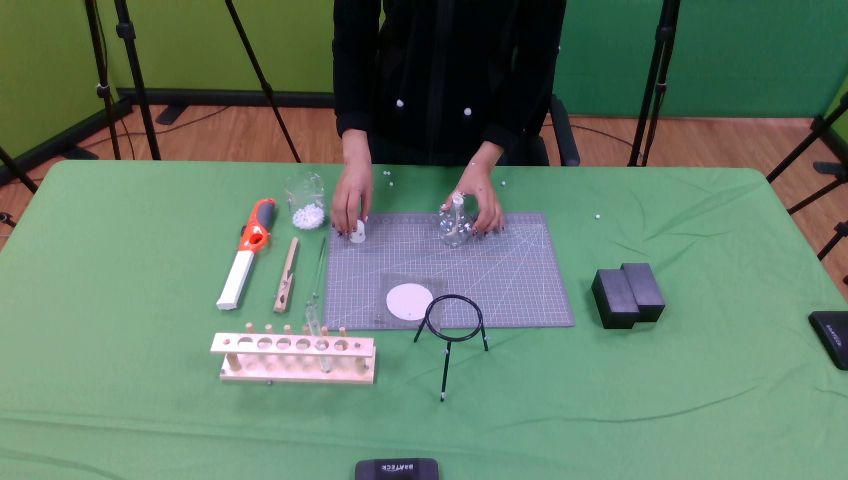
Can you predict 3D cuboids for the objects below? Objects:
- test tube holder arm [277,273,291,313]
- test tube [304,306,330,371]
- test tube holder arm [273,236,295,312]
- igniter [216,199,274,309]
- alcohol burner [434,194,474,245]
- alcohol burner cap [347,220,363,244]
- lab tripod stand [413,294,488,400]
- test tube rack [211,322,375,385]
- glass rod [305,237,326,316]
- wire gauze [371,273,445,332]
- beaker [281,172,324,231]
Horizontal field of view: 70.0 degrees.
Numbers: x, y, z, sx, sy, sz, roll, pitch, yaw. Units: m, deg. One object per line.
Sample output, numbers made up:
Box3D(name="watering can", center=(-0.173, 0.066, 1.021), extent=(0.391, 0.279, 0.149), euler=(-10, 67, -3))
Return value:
Box3D(name="test tube holder arm", center=(-0.253, 0.093, 1.094), extent=(0.010, 0.015, 0.087), euler=(28, 39, -26))
Box3D(name="test tube", center=(-0.162, 0.154, 0.925), extent=(0.017, 0.151, 0.017), euler=(-2, 44, 2))
Box3D(name="test tube holder arm", center=(-0.259, 0.059, 1.122), extent=(0.013, 0.015, 0.177), euler=(27, 39, -26))
Box3D(name="igniter", center=(-0.336, 0.017, 1.152), extent=(0.057, 0.025, 0.275), euler=(-2, 45, 8))
Box3D(name="alcohol burner", center=(0.061, -0.046, 1.182), extent=(0.078, 0.119, 0.077), euler=(4, 46, -3))
Box3D(name="alcohol burner cap", center=(-0.135, -0.019, 1.189), extent=(0.034, 0.048, 0.033), euler=(3, 51, -4))
Box3D(name="lab tripod stand", center=(0.044, 0.159, 0.972), extent=(0.148, 0.132, 0.147), euler=(3, 44, -2))
Box3D(name="test tube rack", center=(-0.203, 0.176, 0.969), extent=(0.242, 0.085, 0.066), euler=(3, 46, -2))
Box3D(name="glass rod", center=(-0.202, 0.064, 1.131), extent=(0.008, 0.008, 0.198), euler=(4, 44, 0))
Box3D(name="wire gauze", center=(-0.028, 0.109, 1.099), extent=(0.125, 0.011, 0.121), euler=(7, 45, 4))
Box3D(name="beaker", center=(-0.234, -0.073, 1.198), extent=(0.084, 0.101, 0.074), euler=(24, 49, 17))
